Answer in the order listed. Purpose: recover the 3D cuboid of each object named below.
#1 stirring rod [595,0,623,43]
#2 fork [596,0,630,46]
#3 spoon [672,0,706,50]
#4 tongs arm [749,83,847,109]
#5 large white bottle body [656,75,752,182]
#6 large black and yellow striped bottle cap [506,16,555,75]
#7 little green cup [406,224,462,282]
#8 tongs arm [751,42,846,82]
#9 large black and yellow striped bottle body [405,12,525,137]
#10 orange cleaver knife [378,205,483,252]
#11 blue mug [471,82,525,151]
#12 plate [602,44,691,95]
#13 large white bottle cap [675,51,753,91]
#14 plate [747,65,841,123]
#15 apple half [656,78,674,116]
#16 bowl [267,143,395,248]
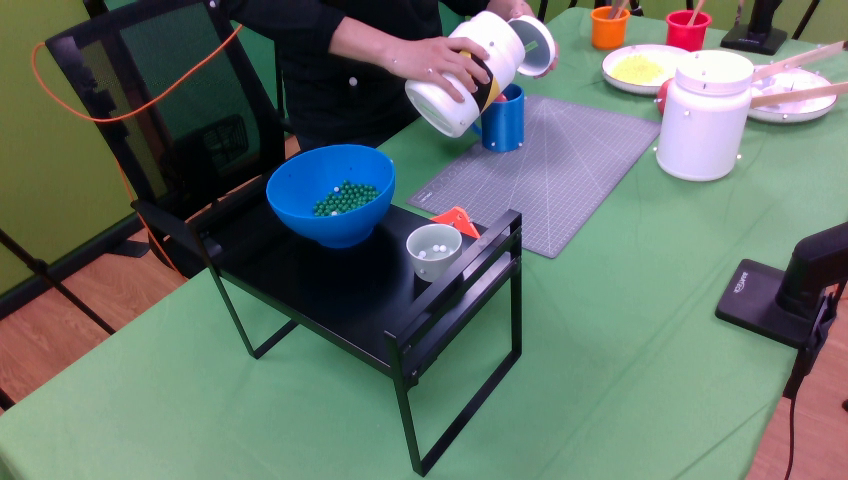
[{"bbox_3d":[0.460,-0.556,1.459,0.014,0.006,0.176,30,93,23],"label":"stirring rod"},{"bbox_3d":[0.481,-0.556,1.452,0.028,0.019,0.207,40,103,41],"label":"fork"},{"bbox_3d":[0.629,-0.520,1.394,0.041,0.022,0.193,30,97,34],"label":"spoon"},{"bbox_3d":[0.734,-0.280,1.133,0.388,0.028,0.028,-9,47,-5],"label":"tongs arm"},{"bbox_3d":[0.472,-0.207,1.022,0.130,0.185,0.130,-4,41,4],"label":"large white bottle body"},{"bbox_3d":[0.195,-0.366,1.142,0.114,0.115,0.019,26,59,33],"label":"large black and yellow striped bottle cap"},{"bbox_3d":[0.013,0.015,0.668,0.061,0.039,0.061,-4,40,4],"label":"little green cup"},{"bbox_3d":[0.708,-0.331,1.193,0.386,0.026,0.050,-18,45,-16],"label":"tongs arm"},{"bbox_3d":[0.073,-0.285,1.037,0.184,0.132,0.129,-47,49,-4],"label":"large black and yellow striped bottle body"},{"bbox_3d":[0.005,-0.010,0.943,0.210,0.077,0.012,-5,23,47],"label":"orange cleaver knife"},{"bbox_3d":[0.138,-0.241,1.169,0.116,0.106,0.082,11,44,21],"label":"blue mug"},{"bbox_3d":[0.495,-0.367,1.317,0.209,0.038,0.208,-4,40,4],"label":"plate"},{"bbox_3d":[0.463,-0.271,0.967,0.115,0.018,0.114,-3,40,3],"label":"large white bottle cap"},{"bbox_3d":[0.694,-0.282,1.189,0.207,0.039,0.206,-4,40,4],"label":"plate"},{"bbox_3d":[0.488,-0.281,1.192,0.053,0.075,0.081,24,54,37],"label":"apple half"},{"bbox_3d":[-0.104,-0.043,0.726,0.151,0.077,0.150,-4,41,4],"label":"bowl"}]
